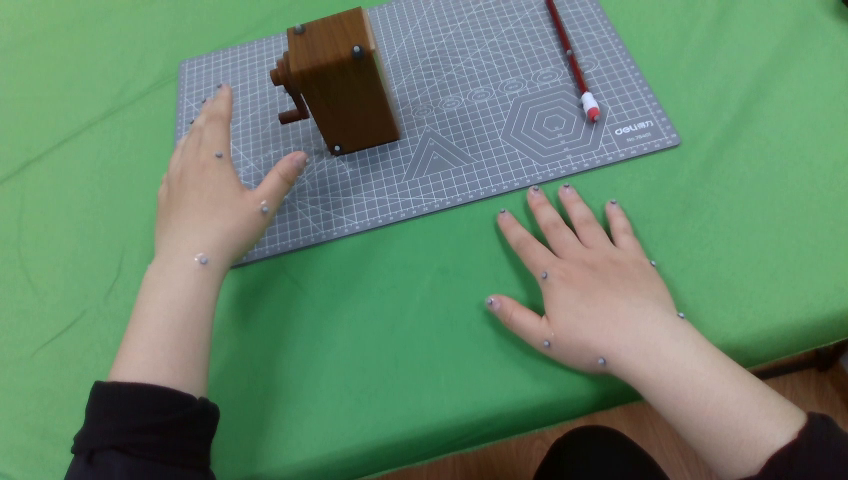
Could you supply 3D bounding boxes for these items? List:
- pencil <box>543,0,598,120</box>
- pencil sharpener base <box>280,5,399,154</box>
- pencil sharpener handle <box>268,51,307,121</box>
[{"bbox_3d":[0.135,-0.184,0.579,0.012,0.012,0.192,-12,55,5],"label":"pencil"},{"bbox_3d":[-0.073,-0.137,0.534,0.077,0.108,0.060,-16,56,2],"label":"pencil sharpener base"},{"bbox_3d":[-0.124,-0.130,0.526,0.030,0.068,0.035,-16,59,3],"label":"pencil sharpener handle"}]
